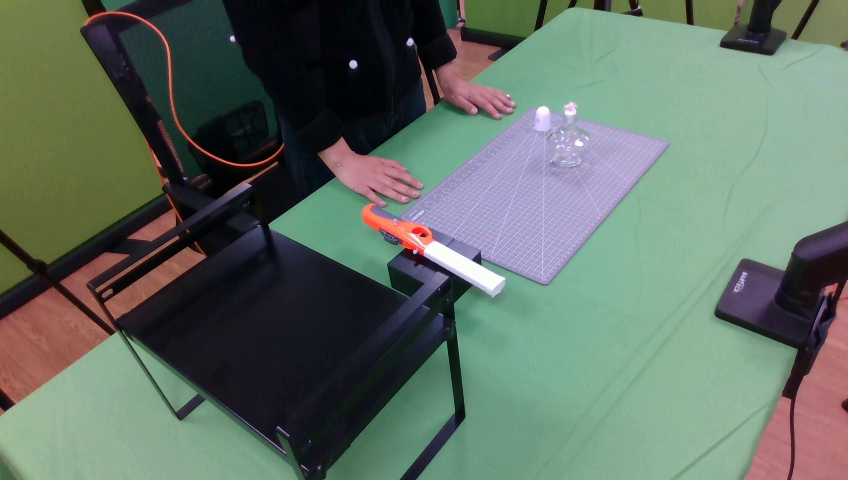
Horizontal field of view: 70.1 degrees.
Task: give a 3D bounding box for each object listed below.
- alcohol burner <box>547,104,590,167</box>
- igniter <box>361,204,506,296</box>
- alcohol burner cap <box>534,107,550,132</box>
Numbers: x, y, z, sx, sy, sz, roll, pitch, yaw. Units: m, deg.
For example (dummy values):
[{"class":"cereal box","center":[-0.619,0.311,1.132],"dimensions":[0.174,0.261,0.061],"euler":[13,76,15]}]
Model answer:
[{"class":"alcohol burner","center":[0.260,-0.192,1.087],"dimensions":[0.078,0.119,0.077],"euler":[-5,42,5]},{"class":"igniter","center":[0.003,0.008,0.889],"dimensions":[0.274,0.025,0.057],"euler":[29,49,33]},{"class":"alcohol burner cap","center":[0.236,-0.243,1.206],"dimensions":[0.034,0.048,0.033],"euler":[-4,39,4]}]
